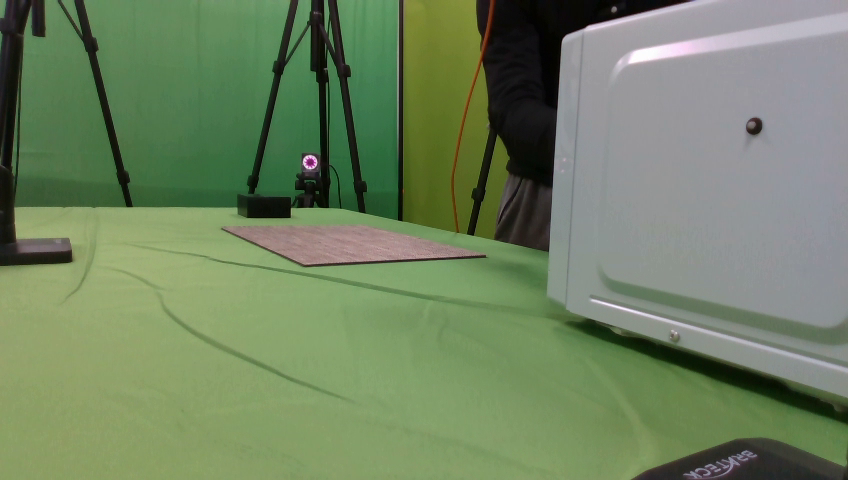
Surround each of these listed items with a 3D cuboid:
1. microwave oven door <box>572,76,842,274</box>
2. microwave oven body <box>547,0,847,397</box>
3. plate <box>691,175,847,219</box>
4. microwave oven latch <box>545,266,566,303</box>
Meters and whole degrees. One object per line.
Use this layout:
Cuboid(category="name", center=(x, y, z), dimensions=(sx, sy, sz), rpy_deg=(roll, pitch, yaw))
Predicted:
Cuboid(category="microwave oven door", center=(0.376, -0.096, 0.865), dimensions=(0.039, 0.243, 0.354), rpy_deg=(-5, 9, -41))
Cuboid(category="microwave oven body", center=(0.378, -0.046, 0.509), dimensions=(0.444, 0.260, 0.324), rpy_deg=(-2, 8, -31))
Cuboid(category="plate", center=(0.379, -0.043, 0.606), dimensions=(0.209, 0.038, 0.209), rpy_deg=(1, 5, 0))
Cuboid(category="microwave oven latch", center=(0.148, 0.038, 0.555), dimensions=(0.079, 0.029, 0.030), rpy_deg=(-2, 7, -29))
